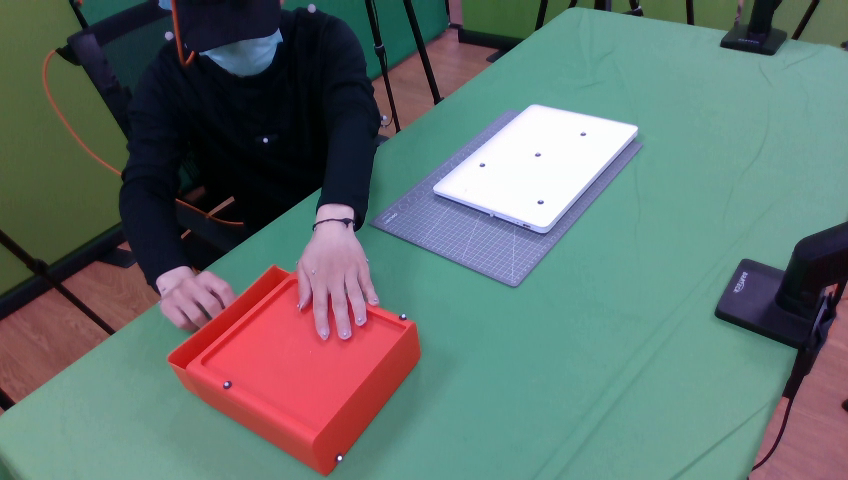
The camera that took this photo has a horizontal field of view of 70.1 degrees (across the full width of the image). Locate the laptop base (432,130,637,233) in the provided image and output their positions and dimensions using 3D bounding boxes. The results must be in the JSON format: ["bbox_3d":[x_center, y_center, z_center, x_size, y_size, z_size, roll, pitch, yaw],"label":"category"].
[{"bbox_3d":[0.210,-0.142,1.111,0.233,0.023,0.355,21,47,34],"label":"laptop base"}]

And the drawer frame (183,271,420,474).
[{"bbox_3d":[-0.149,0.154,0.767,0.212,0.083,0.202,19,46,27],"label":"drawer frame"}]

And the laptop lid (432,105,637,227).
[{"bbox_3d":[0.207,-0.152,1.105,0.239,0.013,0.358,23,49,34],"label":"laptop lid"}]

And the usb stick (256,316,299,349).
[{"bbox_3d":[-0.204,0.129,0.830,0.059,0.027,0.021,-25,27,-19],"label":"usb stick"}]

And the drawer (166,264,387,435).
[{"bbox_3d":[-0.181,0.145,0.784,0.210,0.073,0.195,20,47,27],"label":"drawer"}]
